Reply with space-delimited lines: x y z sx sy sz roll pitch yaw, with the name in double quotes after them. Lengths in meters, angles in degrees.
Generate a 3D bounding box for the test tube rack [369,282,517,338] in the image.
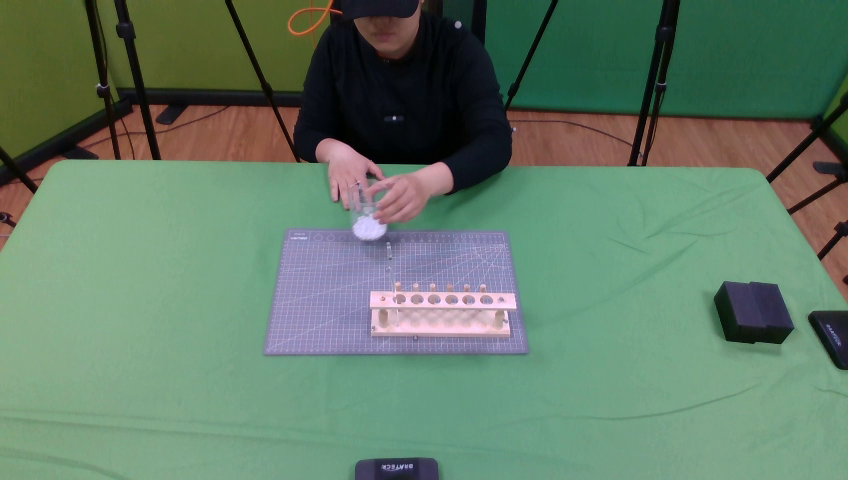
0.030 0.116 1.041 0.242 0.085 0.066 1 46 -3 "test tube rack"

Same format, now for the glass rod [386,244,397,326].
-0.052 0.078 0.980 0.008 0.201 0.008 -1 45 1 "glass rod"

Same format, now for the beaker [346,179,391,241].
-0.102 -0.055 1.145 0.084 0.101 0.073 -13 46 -15 "beaker"
